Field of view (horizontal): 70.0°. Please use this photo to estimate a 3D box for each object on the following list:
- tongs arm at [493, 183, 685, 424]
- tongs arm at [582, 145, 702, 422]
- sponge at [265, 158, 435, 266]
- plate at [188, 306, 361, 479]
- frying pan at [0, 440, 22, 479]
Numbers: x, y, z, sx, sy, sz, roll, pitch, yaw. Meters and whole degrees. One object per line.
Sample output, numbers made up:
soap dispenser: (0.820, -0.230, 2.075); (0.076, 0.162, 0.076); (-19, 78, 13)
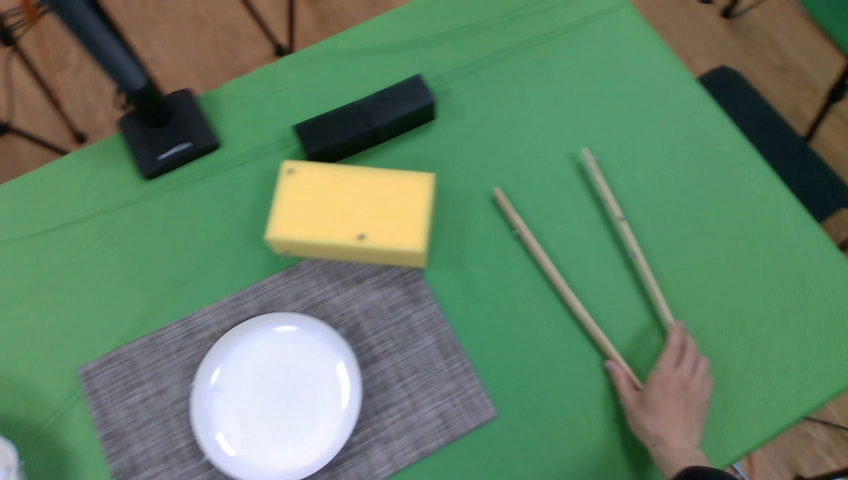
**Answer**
tongs arm: (0.203, 0.077, 0.794); (0.028, 0.028, 0.385); (-30, 73, -12)
tongs arm: (0.273, 0.046, 0.800); (0.051, 0.027, 0.382); (-20, 72, -5)
sponge: (-0.094, -0.038, 0.815); (0.207, 0.061, 0.117); (5, 68, 3)
plate: (-0.180, 0.186, 0.745); (0.208, 0.039, 0.206); (0, 70, 0)
frying pan: (-0.530, 0.405, 0.635); (0.307, 0.103, 0.483); (-34, 65, -11)
